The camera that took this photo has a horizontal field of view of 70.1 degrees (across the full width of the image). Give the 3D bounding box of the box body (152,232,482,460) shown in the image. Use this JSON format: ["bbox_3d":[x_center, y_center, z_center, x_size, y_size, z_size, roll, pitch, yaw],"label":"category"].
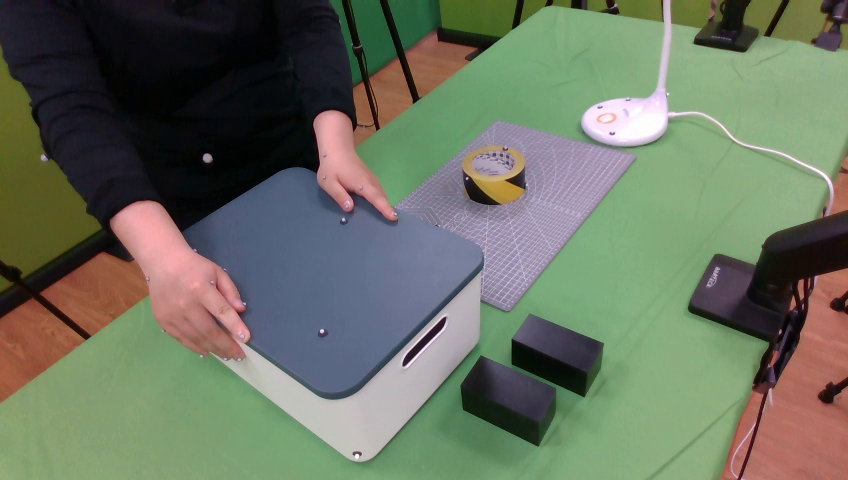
[{"bbox_3d":[-0.130,0.079,0.787,0.361,0.161,0.255,25,50,32],"label":"box body"}]

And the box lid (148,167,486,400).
[{"bbox_3d":[-0.136,0.025,0.738,0.368,0.015,0.264,25,50,32],"label":"box lid"}]

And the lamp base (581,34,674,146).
[{"bbox_3d":[0.392,-0.291,1.129,0.180,0.181,0.159,-11,41,-8],"label":"lamp base"}]

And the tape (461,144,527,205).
[{"bbox_3d":[0.124,-0.116,1.058,0.117,0.053,0.116,-4,42,4],"label":"tape"}]
